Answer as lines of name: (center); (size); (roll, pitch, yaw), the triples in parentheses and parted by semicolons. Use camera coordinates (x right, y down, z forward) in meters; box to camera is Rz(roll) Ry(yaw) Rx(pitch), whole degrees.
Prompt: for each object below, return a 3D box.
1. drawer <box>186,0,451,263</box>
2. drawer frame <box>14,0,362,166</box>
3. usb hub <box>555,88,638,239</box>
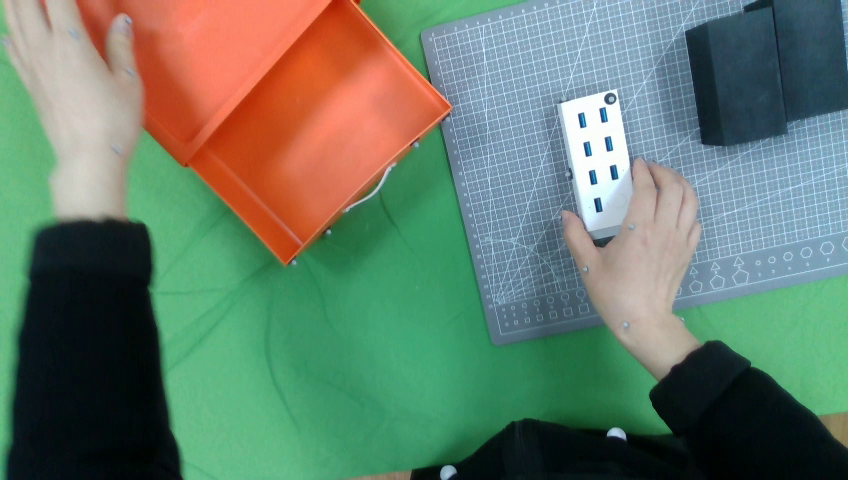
drawer: (-0.116, -0.123, 0.514); (0.194, 0.073, 0.212); (-42, 96, 10)
drawer frame: (-0.198, -0.206, 0.500); (0.214, 0.082, 0.202); (44, 101, -5)
usb hub: (0.153, -0.067, 0.536); (0.049, 0.025, 0.125); (-13, 101, 5)
